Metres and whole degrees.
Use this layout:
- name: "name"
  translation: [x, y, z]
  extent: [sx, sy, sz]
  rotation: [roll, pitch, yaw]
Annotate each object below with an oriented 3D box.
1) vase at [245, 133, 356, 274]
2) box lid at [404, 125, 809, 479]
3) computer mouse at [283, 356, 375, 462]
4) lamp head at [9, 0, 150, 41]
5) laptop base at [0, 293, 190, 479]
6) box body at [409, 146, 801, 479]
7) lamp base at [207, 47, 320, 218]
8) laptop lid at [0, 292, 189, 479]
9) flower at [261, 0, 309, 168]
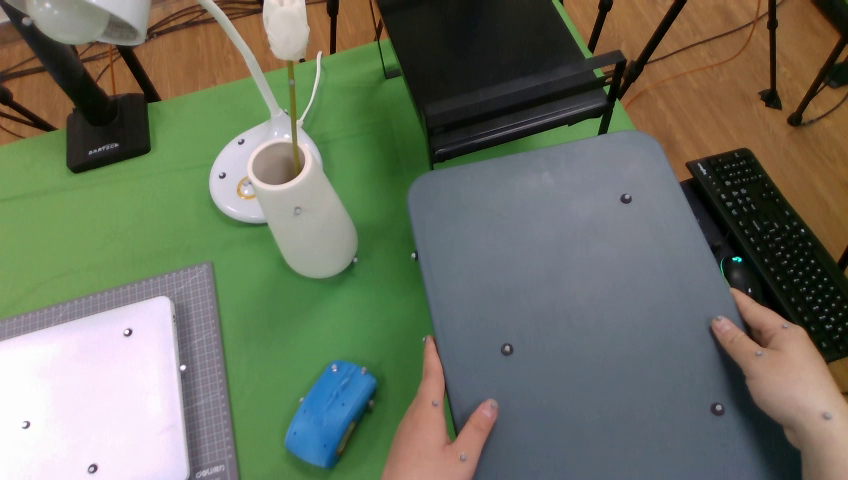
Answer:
- name: "vase"
  translation: [-0.144, -0.038, 0.712]
  extent: [0.098, 0.202, 0.097]
  rotation: [-3, 61, 6]
- name: "box lid"
  translation: [0.138, 0.062, 0.536]
  extent: [0.263, 0.015, 0.368]
  rotation: [-12, 64, -2]
- name: "computer mouse"
  translation: [-0.107, 0.186, 0.681]
  extent: [0.062, 0.041, 0.116]
  rotation: [21, 62, 18]
- name: "lamp head"
  translation: [-0.276, -0.241, 0.502]
  extent: [0.112, 0.113, 0.122]
  rotation: [11, 81, 11]
- name: "laptop base"
  translation: [-0.455, 0.213, 0.708]
  extent: [0.354, 0.023, 0.233]
  rotation: [-16, 65, -4]
- name: "box body"
  translation: [0.152, 0.112, 0.627]
  extent: [0.254, 0.162, 0.360]
  rotation: [-15, 62, -3]
- name: "lamp base"
  translation: [-0.227, -0.148, 0.788]
  extent: [0.160, 0.182, 0.178]
  rotation: [14, 61, 12]
- name: "laptop lid"
  translation: [-0.455, 0.209, 0.696]
  extent: [0.357, 0.013, 0.239]
  rotation: [-15, 64, -3]
- name: "flower"
  translation: [-0.137, -0.089, 0.645]
  extent: [0.038, 0.364, 0.043]
  rotation: [-21, 51, -26]
